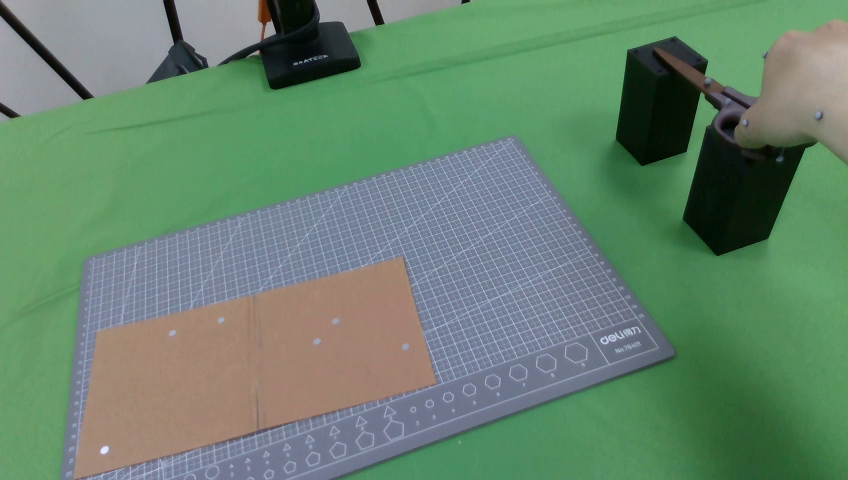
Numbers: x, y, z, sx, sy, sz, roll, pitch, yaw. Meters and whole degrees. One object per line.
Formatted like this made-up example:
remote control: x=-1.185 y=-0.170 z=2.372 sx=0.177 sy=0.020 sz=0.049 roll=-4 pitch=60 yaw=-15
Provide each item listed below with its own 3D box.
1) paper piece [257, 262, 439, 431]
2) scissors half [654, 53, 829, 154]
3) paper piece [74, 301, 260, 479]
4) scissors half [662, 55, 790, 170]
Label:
paper piece: x=-0.068 y=0.080 z=0.490 sx=0.136 sy=0.004 sz=0.134 roll=-13 pitch=44 yaw=-4
scissors half: x=0.248 y=-0.119 z=0.491 sx=0.040 sy=0.013 sz=0.173 roll=-31 pitch=47 yaw=-10
paper piece: x=-0.197 y=0.112 z=0.480 sx=0.138 sy=0.009 sz=0.134 roll=-13 pitch=42 yaw=-3
scissors half: x=0.229 y=-0.111 z=0.489 sx=0.040 sy=0.013 sz=0.173 roll=-14 pitch=45 yaw=-1
